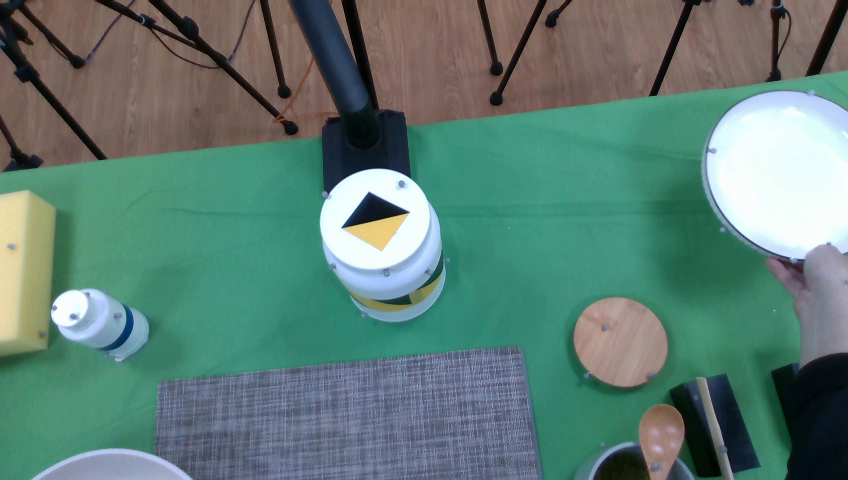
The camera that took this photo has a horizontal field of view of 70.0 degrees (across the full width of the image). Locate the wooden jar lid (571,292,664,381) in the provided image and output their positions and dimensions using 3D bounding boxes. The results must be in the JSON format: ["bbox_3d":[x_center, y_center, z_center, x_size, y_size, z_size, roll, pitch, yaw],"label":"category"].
[{"bbox_3d":[0.231,0.116,0.728,0.108,0.021,0.107,-1,70,3],"label":"wooden jar lid"}]

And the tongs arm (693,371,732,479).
[{"bbox_3d":[0.345,0.319,0.604,0.051,0.026,0.383,-11,80,1],"label":"tongs arm"}]

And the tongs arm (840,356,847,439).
[{"bbox_3d":[0.429,0.309,0.600,0.028,0.028,0.386,3,81,0],"label":"tongs arm"}]

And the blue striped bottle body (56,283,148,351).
[{"bbox_3d":[-0.389,0.091,0.726,0.063,0.121,0.062,-1,69,4],"label":"blue striped bottle body"}]

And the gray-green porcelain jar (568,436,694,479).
[{"bbox_3d":[0.205,0.258,0.619,0.106,0.127,0.105,-1,69,4],"label":"gray-green porcelain jar"}]

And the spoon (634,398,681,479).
[{"bbox_3d":[0.205,0.242,0.550,0.041,0.022,0.193,10,74,6],"label":"spoon"}]

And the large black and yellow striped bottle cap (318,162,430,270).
[{"bbox_3d":[-0.051,-0.026,0.623,0.115,0.019,0.114,-1,71,4],"label":"large black and yellow striped bottle cap"}]

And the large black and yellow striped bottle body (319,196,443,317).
[{"bbox_3d":[-0.046,0.005,0.701,0.131,0.185,0.130,-1,69,4],"label":"large black and yellow striped bottle body"}]

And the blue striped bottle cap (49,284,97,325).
[{"bbox_3d":[-0.394,0.072,0.679,0.044,0.021,0.044,-1,71,4],"label":"blue striped bottle cap"}]

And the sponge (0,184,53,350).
[{"bbox_3d":[-0.564,0.038,0.790,0.118,0.061,0.205,-11,70,0],"label":"sponge"}]

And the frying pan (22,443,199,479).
[{"bbox_3d":[-0.359,0.457,0.593,0.306,0.103,0.484,9,62,9],"label":"frying pan"}]

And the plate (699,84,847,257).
[{"bbox_3d":[0.417,-0.078,0.693,0.209,0.038,0.208,0,74,2],"label":"plate"}]
